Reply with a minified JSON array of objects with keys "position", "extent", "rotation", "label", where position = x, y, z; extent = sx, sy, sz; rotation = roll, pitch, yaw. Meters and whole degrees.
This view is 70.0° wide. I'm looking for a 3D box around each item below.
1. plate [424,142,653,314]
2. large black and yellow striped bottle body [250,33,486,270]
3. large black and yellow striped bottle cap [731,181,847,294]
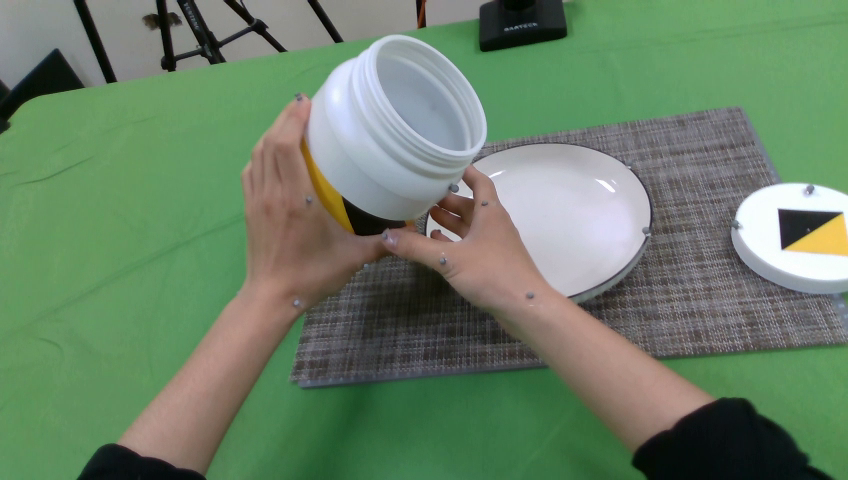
[{"position":[0.105,-0.012,0.568],"extent":[0.207,0.039,0.205],"rotation":[-8,46,9],"label":"plate"},{"position":[-0.048,-0.068,0.502],"extent":[0.184,0.132,0.129],"rotation":[-37,30,41],"label":"large black and yellow striped bottle body"},{"position":[0.323,-0.005,0.510],"extent":[0.115,0.019,0.114],"rotation":[-6,48,7],"label":"large black and yellow striped bottle cap"}]
